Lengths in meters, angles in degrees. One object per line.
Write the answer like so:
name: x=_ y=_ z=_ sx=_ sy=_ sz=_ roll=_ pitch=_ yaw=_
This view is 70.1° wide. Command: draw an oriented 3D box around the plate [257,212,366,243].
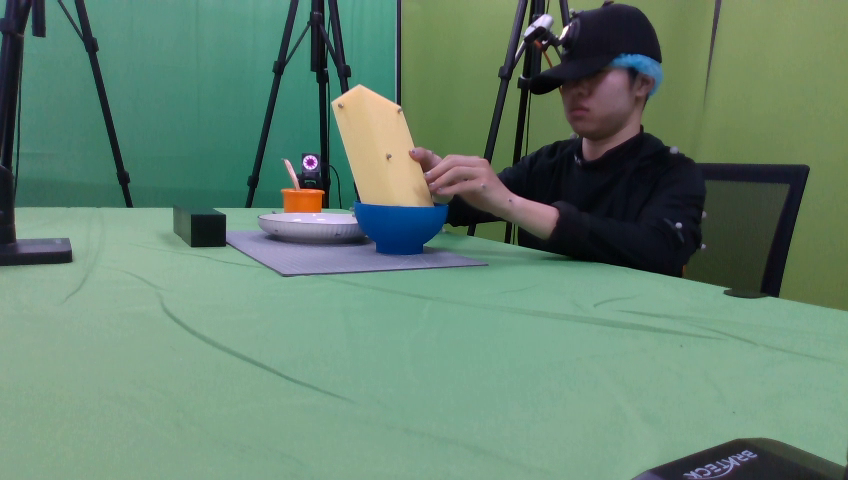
plate: x=-0.189 y=-0.023 z=1.072 sx=0.209 sy=0.038 sz=0.209 roll=3 pitch=7 yaw=0

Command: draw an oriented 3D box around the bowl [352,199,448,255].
bowl: x=-0.039 y=-0.021 z=0.946 sx=0.151 sy=0.077 sz=0.151 roll=2 pitch=8 yaw=0

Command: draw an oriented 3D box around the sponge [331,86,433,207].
sponge: x=-0.064 y=-0.126 z=0.957 sx=0.060 sy=0.206 sz=0.119 roll=-25 pitch=-16 yaw=26

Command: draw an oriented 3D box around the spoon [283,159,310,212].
spoon: x=-0.279 y=-0.111 z=1.324 sx=0.042 sy=0.193 sz=0.021 roll=3 pitch=-39 yaw=-35
